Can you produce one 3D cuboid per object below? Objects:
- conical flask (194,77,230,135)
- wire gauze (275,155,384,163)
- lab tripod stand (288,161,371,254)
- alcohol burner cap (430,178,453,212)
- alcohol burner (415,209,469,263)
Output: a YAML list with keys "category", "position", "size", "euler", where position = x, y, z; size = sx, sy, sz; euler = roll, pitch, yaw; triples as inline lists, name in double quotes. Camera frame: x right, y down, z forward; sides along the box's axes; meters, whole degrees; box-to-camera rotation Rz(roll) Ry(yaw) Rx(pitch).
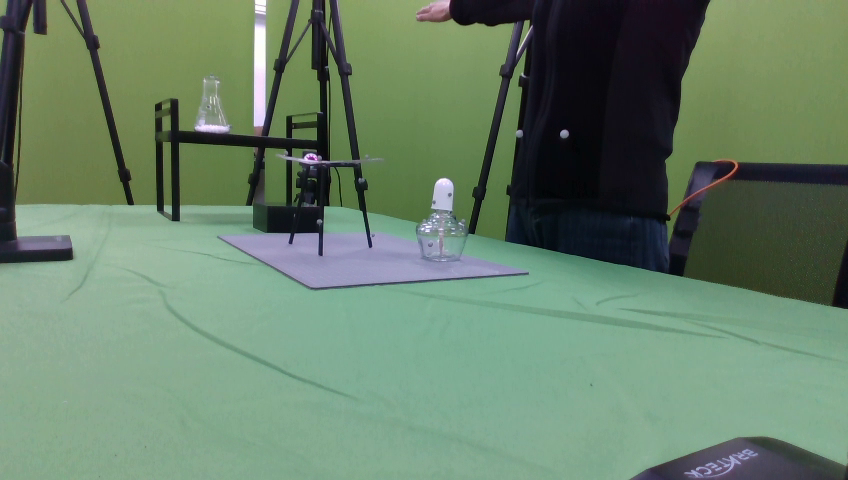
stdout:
- category: "conical flask"
  position: [-0.461, -0.292, 1.317]
  size: [0.075, 0.122, 0.075]
  euler: [2, 7, 0]
- category: "wire gauze"
  position: [-0.142, -0.118, 0.900]
  size: [0.122, 0.011, 0.124]
  euler: [-3, 8, -37]
- category: "lab tripod stand"
  position: [-0.148, -0.052, 0.909]
  size: [0.148, 0.131, 0.148]
  euler: [1, 8, 0]
- category: "alcohol burner cap"
  position: [0.027, -0.064, 0.858]
  size: [0.034, 0.048, 0.034]
  euler: [4, 4, 0]
- category: "alcohol burner"
  position: [0.025, -0.028, 0.863]
  size: [0.078, 0.119, 0.078]
  euler: [1, 6, 0]
